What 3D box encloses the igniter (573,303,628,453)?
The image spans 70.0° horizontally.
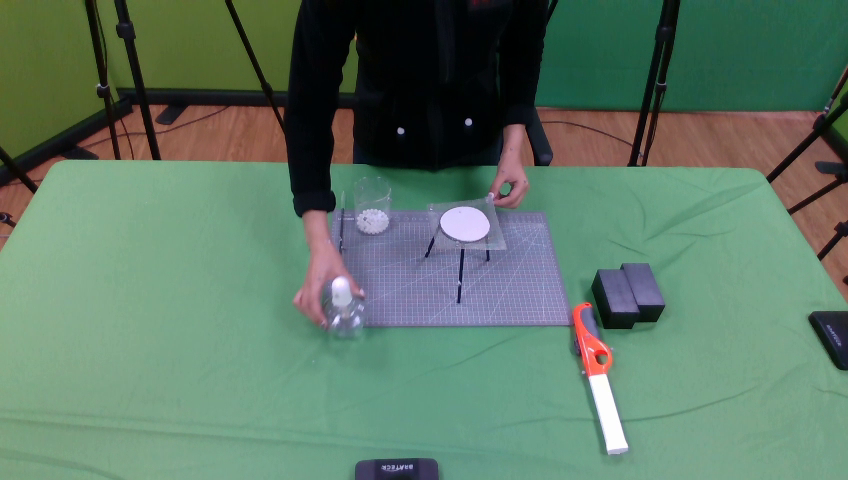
[{"bbox_3d":[0.288,0.217,1.006,0.057,0.025,0.274,-9,46,8],"label":"igniter"}]

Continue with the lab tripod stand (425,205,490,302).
[{"bbox_3d":[0.069,0.017,1.105,0.148,0.132,0.147,3,47,-3],"label":"lab tripod stand"}]

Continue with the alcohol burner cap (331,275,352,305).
[{"bbox_3d":[-0.134,0.078,0.971,0.034,0.048,0.033,-1,42,1],"label":"alcohol burner cap"}]

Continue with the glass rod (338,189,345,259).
[{"bbox_3d":[-0.166,-0.036,1.226,0.008,0.008,0.198,-1,47,-4],"label":"glass rod"}]

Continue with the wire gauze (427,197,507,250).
[{"bbox_3d":[0.073,-0.028,1.055,0.125,0.011,0.120,-3,48,-7],"label":"wire gauze"}]

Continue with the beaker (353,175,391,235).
[{"bbox_3d":[-0.104,-0.064,1.195,0.074,0.101,0.084,24,50,18],"label":"beaker"}]

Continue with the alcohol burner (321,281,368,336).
[{"bbox_3d":[-0.133,0.103,0.997,0.078,0.120,0.077,-1,47,1],"label":"alcohol burner"}]
